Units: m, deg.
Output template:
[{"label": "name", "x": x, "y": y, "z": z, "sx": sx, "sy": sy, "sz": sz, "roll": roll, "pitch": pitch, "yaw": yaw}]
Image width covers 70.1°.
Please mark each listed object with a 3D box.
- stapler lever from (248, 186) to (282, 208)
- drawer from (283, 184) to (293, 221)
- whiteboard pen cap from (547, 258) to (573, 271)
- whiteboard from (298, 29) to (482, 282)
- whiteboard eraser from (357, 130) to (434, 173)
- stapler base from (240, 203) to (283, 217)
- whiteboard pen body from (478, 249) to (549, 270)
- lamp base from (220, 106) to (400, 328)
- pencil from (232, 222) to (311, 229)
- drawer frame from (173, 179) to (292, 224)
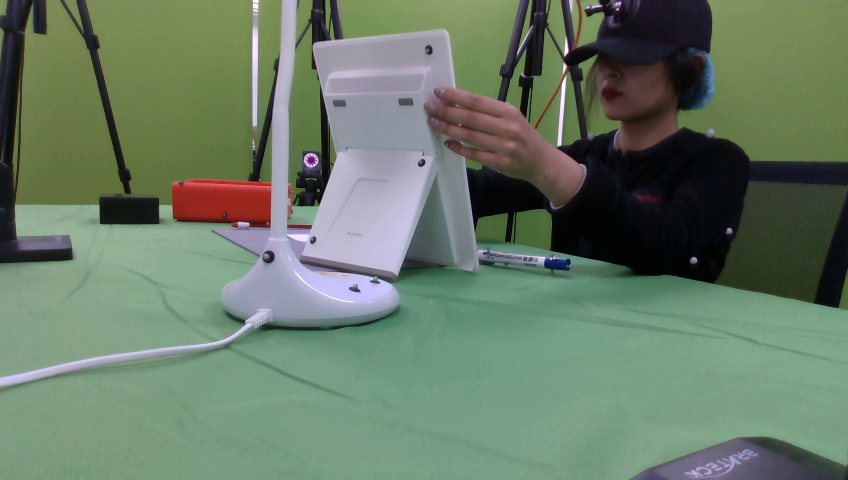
[{"label": "stapler lever", "x": -0.341, "y": -0.092, "z": 1.308, "sx": 0.027, "sy": 0.040, "sz": 0.118, "roll": 19, "pitch": 5, "yaw": 12}, {"label": "drawer", "x": -0.396, "y": -0.085, "z": 1.301, "sx": 0.212, "sy": 0.073, "sz": 0.194, "roll": 1, "pitch": 8, "yaw": -7}, {"label": "whiteboard pen cap", "x": 0.176, "y": 0.032, "z": 0.790, "sx": 0.033, "sy": 0.018, "sz": 0.018, "roll": 3, "pitch": 6, "yaw": 37}, {"label": "whiteboard", "x": -0.075, "y": -0.082, "z": 0.742, "sx": 0.216, "sy": 0.305, "sz": 0.144, "roll": 9, "pitch": 29, "yaw": 37}, {"label": "whiteboard eraser", "x": -0.042, "y": -0.122, "z": 0.837, "sx": 0.112, "sy": 0.055, "sz": 0.042, "roll": 5, "pitch": 25, "yaw": 36}, {"label": "stapler base", "x": -0.349, "y": -0.066, "z": 1.309, "sx": 0.041, "sy": 0.024, "sz": 0.131, "roll": 19, "pitch": 7, "yaw": 12}, {"label": "whiteboard pen body", "x": 0.129, "y": 0.028, "z": 0.827, "sx": 0.140, "sy": 0.017, "sz": 0.017, "roll": 7, "pitch": 9, "yaw": 40}, {"label": "lamp base", "x": -0.101, "y": -0.023, "z": 0.531, "sx": 0.160, "sy": 0.180, "sz": 0.179, "roll": 4, "pitch": 10, "yaw": 10}, {"label": "pencil", "x": -0.261, "y": -0.025, "z": 1.141, "sx": 0.195, "sy": 0.012, "sz": 0.012, "roll": 2, "pitch": 7, "yaw": -26}, {"label": "drawer frame", "x": -0.400, "y": -0.086, "z": 1.300, "sx": 0.214, "sy": 0.082, "sz": 0.201, "roll": 1, "pitch": 8, "yaw": -8}]
